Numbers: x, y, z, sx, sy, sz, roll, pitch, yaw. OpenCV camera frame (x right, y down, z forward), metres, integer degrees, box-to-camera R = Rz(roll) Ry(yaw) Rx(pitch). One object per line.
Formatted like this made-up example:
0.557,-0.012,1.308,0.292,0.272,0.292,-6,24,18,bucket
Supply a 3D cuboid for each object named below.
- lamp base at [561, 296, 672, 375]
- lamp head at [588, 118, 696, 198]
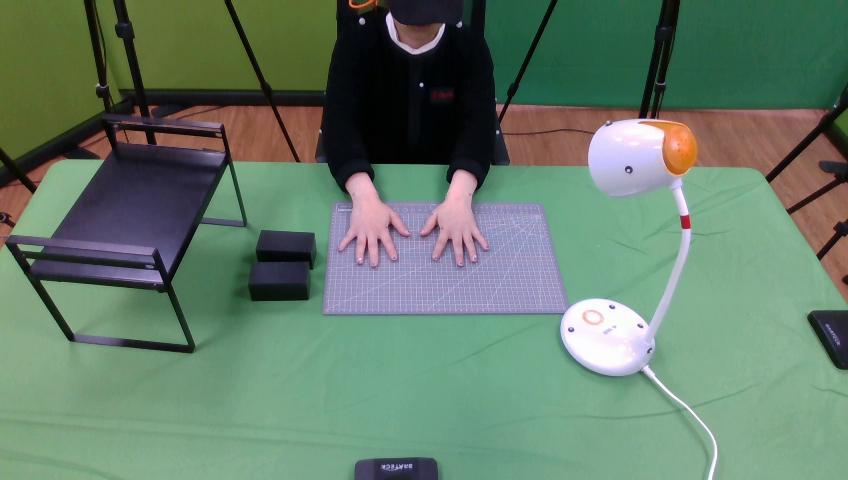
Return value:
0.332,0.119,0.996,0.160,0.181,0.178,-34,59,-31,lamp base
0.304,-0.113,0.823,0.112,0.112,0.122,-26,16,-26,lamp head
